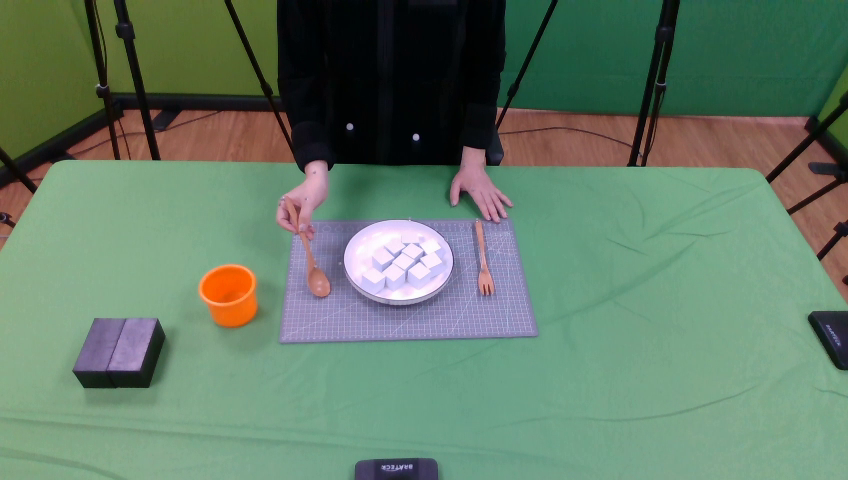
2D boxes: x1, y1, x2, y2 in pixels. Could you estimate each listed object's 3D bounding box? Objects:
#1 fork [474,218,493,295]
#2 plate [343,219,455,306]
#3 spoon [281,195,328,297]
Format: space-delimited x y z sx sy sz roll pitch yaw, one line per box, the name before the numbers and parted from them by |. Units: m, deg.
fork | 0.112 0.029 1.177 0.028 0.019 0.206 -3 48 1
plate | -0.047 0.045 1.136 0.208 0.039 0.206 2 46 -2
spoon | -0.215 0.010 1.084 0.041 0.194 0.021 -25 12 -40
